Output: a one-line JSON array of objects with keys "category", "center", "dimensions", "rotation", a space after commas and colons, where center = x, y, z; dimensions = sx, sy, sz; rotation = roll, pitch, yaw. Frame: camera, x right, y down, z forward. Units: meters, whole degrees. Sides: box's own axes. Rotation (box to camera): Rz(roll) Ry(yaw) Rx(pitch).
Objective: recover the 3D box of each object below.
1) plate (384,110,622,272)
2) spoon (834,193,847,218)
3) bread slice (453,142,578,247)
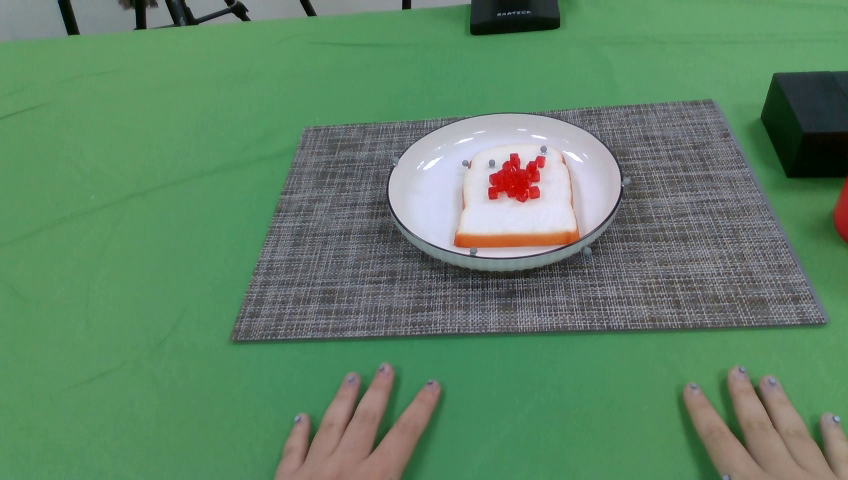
[{"category": "plate", "center": [0.069, -0.045, 0.550], "dimensions": [0.209, 0.038, 0.207], "rotation": [-5, 45, 5]}, {"category": "spoon", "center": [0.404, -0.054, 0.434], "dimensions": [0.022, 0.193, 0.041], "rotation": [45, 49, -13]}, {"category": "bread slice", "center": [0.082, -0.045, 0.550], "dimensions": [0.105, 0.019, 0.130], "rotation": [-1, 46, 8]}]
